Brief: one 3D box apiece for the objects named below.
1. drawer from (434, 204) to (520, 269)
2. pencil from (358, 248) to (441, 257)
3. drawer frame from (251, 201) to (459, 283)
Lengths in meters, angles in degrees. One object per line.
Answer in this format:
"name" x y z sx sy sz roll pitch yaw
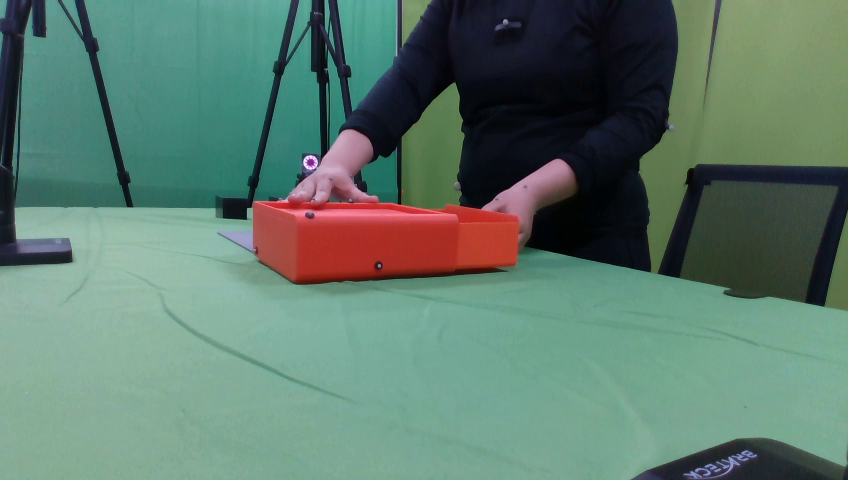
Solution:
"drawer" -0.009 -0.007 0.838 0.213 0.073 0.193 -3 10 -29
"pencil" -0.027 0.019 0.837 0.012 0.012 0.195 7 2 33
"drawer frame" -0.095 -0.005 0.789 0.215 0.082 0.200 -2 9 -30
